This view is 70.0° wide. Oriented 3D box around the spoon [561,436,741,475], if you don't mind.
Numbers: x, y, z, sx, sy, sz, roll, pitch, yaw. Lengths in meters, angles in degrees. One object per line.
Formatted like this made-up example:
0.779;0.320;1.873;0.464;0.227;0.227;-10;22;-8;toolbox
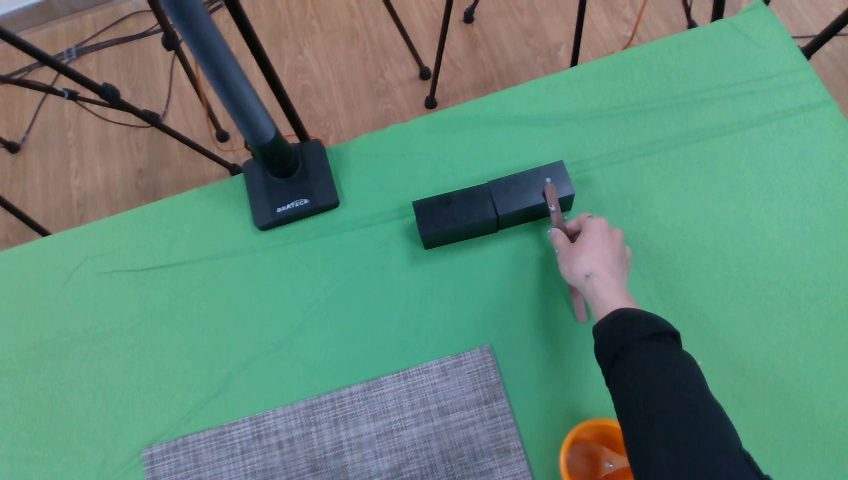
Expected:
0.221;0.222;0.615;0.022;0.193;0.041;18;66;-33;spoon

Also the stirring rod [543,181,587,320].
0.174;0.013;0.747;0.014;0.006;0.176;-14;87;1;stirring rod
